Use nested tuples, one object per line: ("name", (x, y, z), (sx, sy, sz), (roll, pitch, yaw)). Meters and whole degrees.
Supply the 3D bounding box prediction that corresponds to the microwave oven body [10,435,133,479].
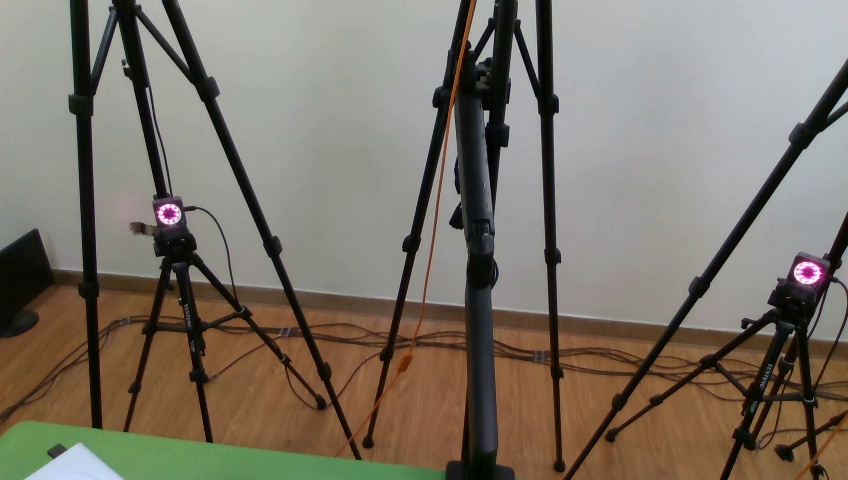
("microwave oven body", (-0.462, 0.491, 0.643), (0.323, 0.262, 0.441), (22, 38, 27))
